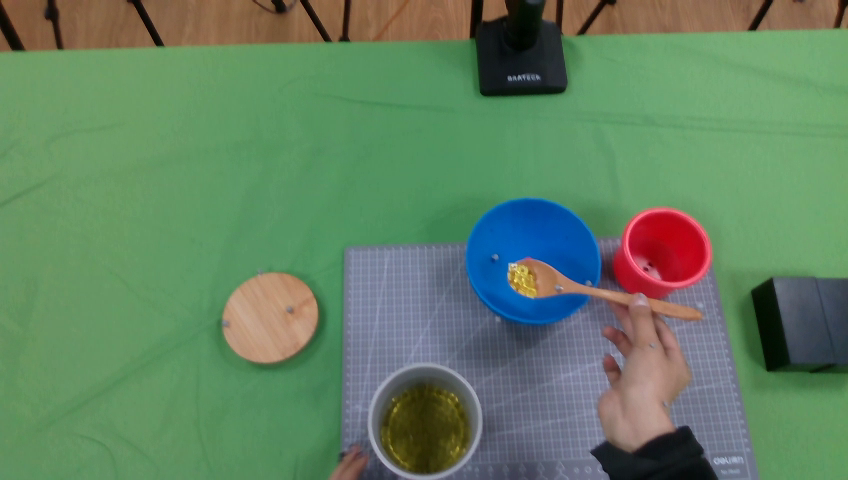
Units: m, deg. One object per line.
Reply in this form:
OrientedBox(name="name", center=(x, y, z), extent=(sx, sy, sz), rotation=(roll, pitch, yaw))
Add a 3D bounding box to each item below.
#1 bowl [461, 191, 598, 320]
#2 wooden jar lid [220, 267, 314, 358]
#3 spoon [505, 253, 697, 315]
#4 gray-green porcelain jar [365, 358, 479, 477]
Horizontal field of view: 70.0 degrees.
OrientedBox(name="bowl", center=(0.115, 0.027, 0.698), extent=(0.151, 0.077, 0.150), rotation=(0, 68, 0))
OrientedBox(name="wooden jar lid", center=(-0.181, 0.085, 0.707), extent=(0.108, 0.021, 0.107), rotation=(0, 68, 0))
OrientedBox(name="spoon", center=(0.171, 0.049, 0.611), extent=(0.192, 0.022, 0.041), rotation=(13, 81, 33))
OrientedBox(name="gray-green porcelain jar", center=(-0.002, 0.183, 0.610), extent=(0.106, 0.127, 0.105), rotation=(0, 68, -1))
